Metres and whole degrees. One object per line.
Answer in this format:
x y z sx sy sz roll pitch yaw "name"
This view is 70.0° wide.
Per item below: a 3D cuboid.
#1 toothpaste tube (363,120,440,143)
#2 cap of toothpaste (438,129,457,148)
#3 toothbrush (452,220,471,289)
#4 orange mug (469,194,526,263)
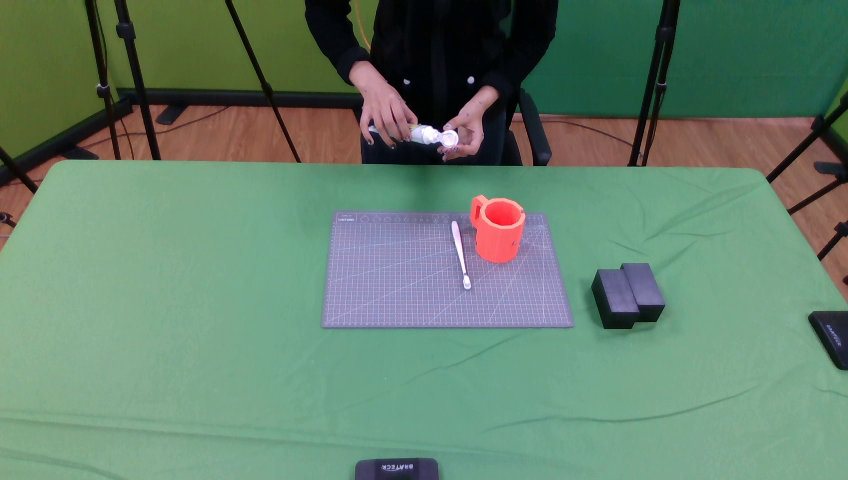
-0.039 -0.216 1.185 0.164 0.034 0.055 16 31 31 "toothpaste tube"
0.045 -0.195 1.159 0.037 0.037 0.011 10 7 7 "cap of toothpaste"
0.071 0.024 1.180 0.014 0.017 0.180 -13 45 5 "toothbrush"
0.136 -0.030 1.180 0.083 0.101 0.125 -26 58 -26 "orange mug"
